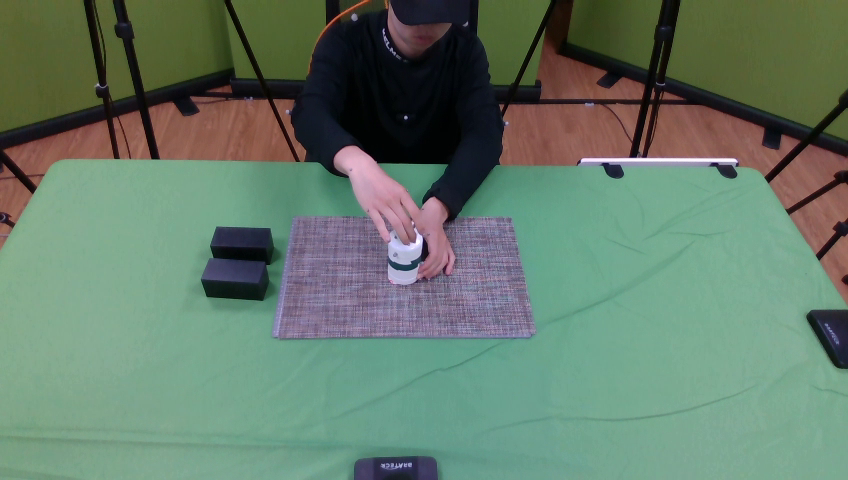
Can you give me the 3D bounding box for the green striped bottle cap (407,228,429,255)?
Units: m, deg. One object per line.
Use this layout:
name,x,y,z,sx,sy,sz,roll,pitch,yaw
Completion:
green striped bottle cap,-0.009,0.003,1.027,0.020,0.044,0.044,29,51,16

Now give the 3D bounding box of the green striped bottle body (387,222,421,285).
green striped bottle body,-0.036,0.021,1.102,0.063,0.120,0.063,2,46,-2
